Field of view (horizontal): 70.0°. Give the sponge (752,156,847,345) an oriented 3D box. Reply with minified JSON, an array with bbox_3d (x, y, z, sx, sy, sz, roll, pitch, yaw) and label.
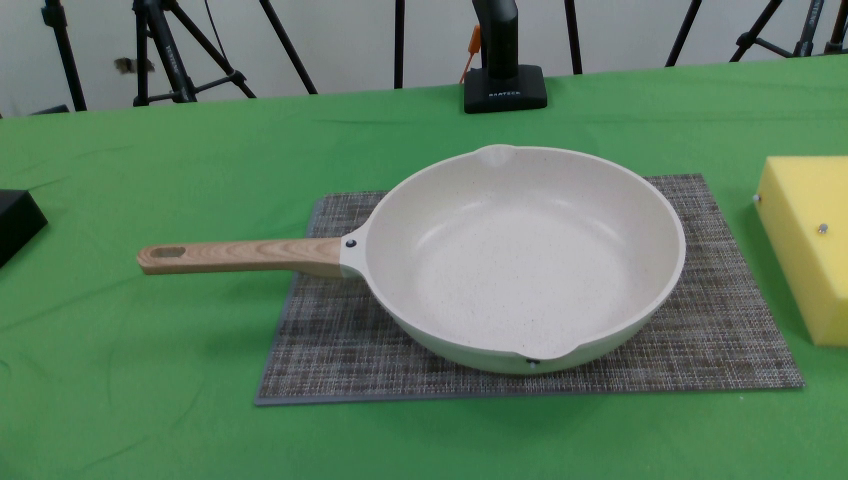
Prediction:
[{"bbox_3d":[0.396,0.002,0.556,0.118,0.061,0.205,0,40,10],"label":"sponge"}]

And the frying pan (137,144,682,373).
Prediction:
[{"bbox_3d":[-0.017,0.012,0.572,0.488,0.103,0.303,0,39,-3],"label":"frying pan"}]
